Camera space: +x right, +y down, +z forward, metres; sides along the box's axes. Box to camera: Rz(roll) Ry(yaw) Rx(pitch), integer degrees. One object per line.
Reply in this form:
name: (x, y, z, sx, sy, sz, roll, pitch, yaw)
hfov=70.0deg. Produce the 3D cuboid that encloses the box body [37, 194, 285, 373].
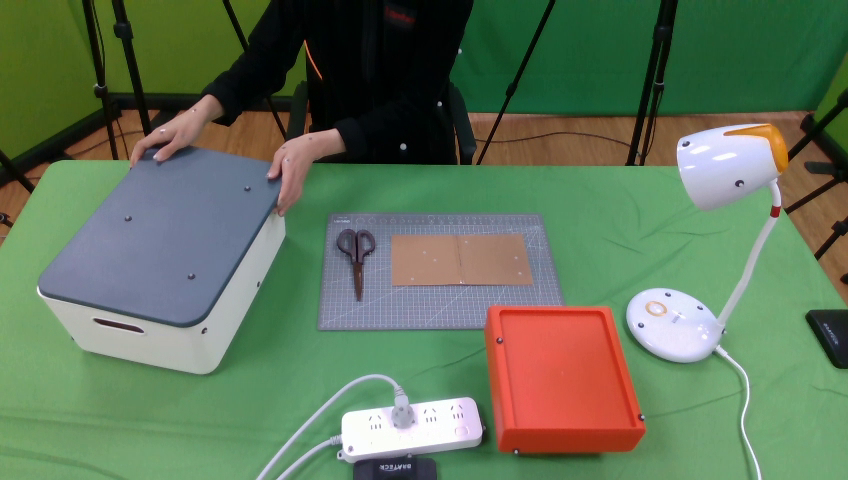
box body: (-0.414, 0.029, 1.039, 0.254, 0.161, 0.362, 10, 46, 5)

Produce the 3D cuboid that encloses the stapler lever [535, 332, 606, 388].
stapler lever: (0.225, 0.181, 0.928, 0.118, 0.040, 0.027, 27, 34, 15)

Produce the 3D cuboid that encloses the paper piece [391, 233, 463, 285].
paper piece: (0.004, 0.035, 1.170, 0.135, 0.004, 0.135, 1, 46, -4)

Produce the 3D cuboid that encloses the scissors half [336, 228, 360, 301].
scissors half: (-0.139, 0.044, 1.144, 0.040, 0.013, 0.174, 8, 46, -29)

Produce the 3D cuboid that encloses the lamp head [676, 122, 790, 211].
lamp head: (0.423, -0.104, 0.819, 0.122, 0.113, 0.112, -13, 33, 40)

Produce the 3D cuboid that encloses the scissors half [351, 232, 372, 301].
scissors half: (-0.122, 0.049, 1.153, 0.040, 0.013, 0.174, 25, 39, -20)

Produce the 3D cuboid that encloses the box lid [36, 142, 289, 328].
box lid: (-0.400, -0.028, 0.981, 0.263, 0.015, 0.369, 12, 47, 5)

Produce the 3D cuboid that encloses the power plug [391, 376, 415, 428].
power plug: (-0.030, 0.249, 0.917, 0.035, 0.053, 0.072, 3, 46, 0)

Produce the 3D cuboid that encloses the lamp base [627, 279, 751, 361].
lamp base: (0.460, 0.100, 1.027, 0.178, 0.181, 0.160, 27, 51, 17)

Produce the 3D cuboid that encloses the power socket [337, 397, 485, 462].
power socket: (-0.018, 0.285, 0.915, 0.227, 0.033, 0.071, -4, 46, -8)

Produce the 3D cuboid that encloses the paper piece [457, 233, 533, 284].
paper piece: (0.136, 0.035, 1.182, 0.136, 0.009, 0.137, 2, 45, -6)

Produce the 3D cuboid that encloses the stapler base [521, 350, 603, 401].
stapler base: (0.217, 0.203, 0.942, 0.130, 0.024, 0.041, 26, 33, 16)

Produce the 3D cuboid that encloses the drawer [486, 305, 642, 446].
drawer: (0.202, 0.200, 0.919, 0.195, 0.073, 0.210, 2, 47, -4)

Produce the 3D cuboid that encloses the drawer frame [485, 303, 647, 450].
drawer frame: (0.204, 0.202, 0.917, 0.202, 0.083, 0.212, 1, 47, -4)
